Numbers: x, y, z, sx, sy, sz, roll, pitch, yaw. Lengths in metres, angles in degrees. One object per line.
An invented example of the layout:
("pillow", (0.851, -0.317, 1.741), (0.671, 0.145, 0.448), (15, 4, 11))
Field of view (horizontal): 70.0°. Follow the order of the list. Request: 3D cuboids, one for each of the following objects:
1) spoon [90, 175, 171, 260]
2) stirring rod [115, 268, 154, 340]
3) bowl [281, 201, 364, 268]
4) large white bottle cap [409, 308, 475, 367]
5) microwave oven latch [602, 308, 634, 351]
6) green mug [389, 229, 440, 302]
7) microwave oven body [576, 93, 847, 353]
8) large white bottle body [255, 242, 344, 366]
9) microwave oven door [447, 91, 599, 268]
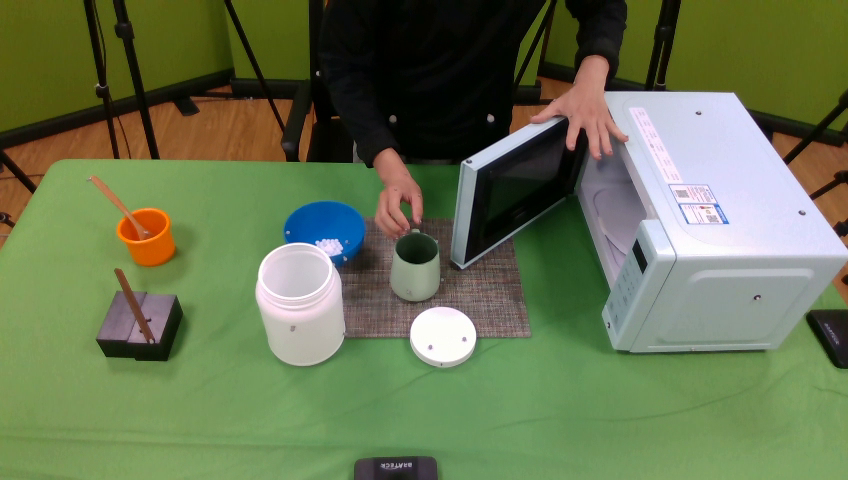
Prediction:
("spoon", (-0.539, -0.042, 1.111), (0.041, 0.194, 0.021), (-45, 19, -32))
("stirring rod", (-0.479, 0.103, 0.999), (0.014, 0.006, 0.175), (8, 32, -49))
("bowl", (-0.187, 0.005, 1.137), (0.151, 0.077, 0.150), (3, 46, -3))
("large white bottle cap", (0.031, 0.166, 1.041), (0.115, 0.018, 0.114), (2, 46, -2))
("microwave oven latch", (0.332, 0.153, 1.044), (0.030, 0.029, 0.078), (-1, 45, -4))
("green mug", (-0.017, 0.039, 1.100), (0.092, 0.105, 0.124), (-1, 46, -4))
("microwave oven body", (0.475, -0.041, 1.109), (0.326, 0.261, 0.438), (-1, 45, -4))
("large white bottle body", (-0.196, 0.102, 0.967), (0.131, 0.185, 0.130), (2, 49, -2))
("microwave oven door", (0.192, -0.119, 1.156), (0.356, 0.245, 0.039), (-32, 56, -30))
